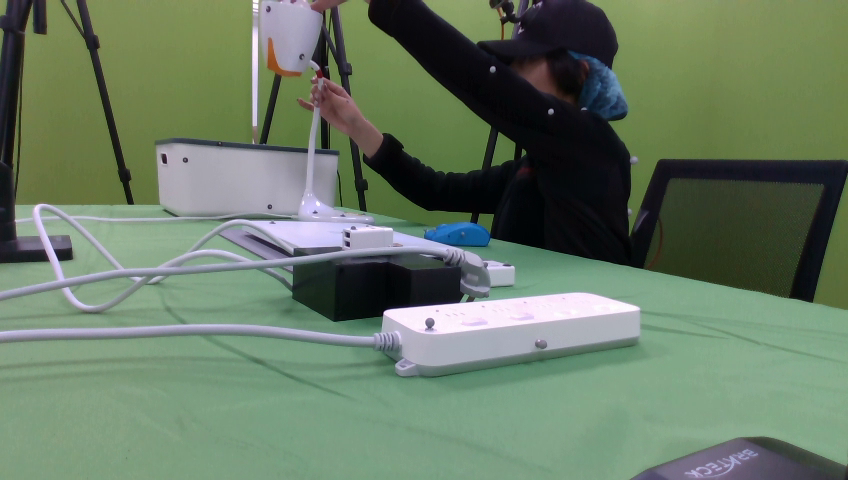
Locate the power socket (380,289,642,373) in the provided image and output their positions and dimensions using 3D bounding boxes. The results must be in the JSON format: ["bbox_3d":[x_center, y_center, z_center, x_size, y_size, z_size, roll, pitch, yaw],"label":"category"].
[{"bbox_3d":[0.072,0.064,0.461,0.228,0.032,0.072,-2,8,-30],"label":"power socket"}]

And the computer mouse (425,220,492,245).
[{"bbox_3d":[0.060,-0.013,1.060,0.117,0.041,0.062,-2,10,-6],"label":"computer mouse"}]

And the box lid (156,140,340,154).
[{"bbox_3d":[-0.409,-0.213,1.404,0.373,0.015,0.262,-2,8,-32],"label":"box lid"}]

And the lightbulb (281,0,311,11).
[{"bbox_3d":[-0.238,-0.383,1.092,0.059,0.107,0.059,16,14,-4],"label":"lightbulb"}]

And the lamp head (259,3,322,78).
[{"bbox_3d":[-0.246,-0.360,1.106,0.112,0.123,0.112,7,16,-2],"label":"lamp head"}]

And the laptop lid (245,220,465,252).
[{"bbox_3d":[-0.124,-0.009,0.945,0.243,0.013,0.355,1,7,-29],"label":"laptop lid"}]

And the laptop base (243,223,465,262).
[{"bbox_3d":[-0.126,0.003,0.946,0.237,0.023,0.352,2,6,-31],"label":"laptop base"}]

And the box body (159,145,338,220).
[{"bbox_3d":[-0.410,-0.139,1.414,0.366,0.160,0.253,-2,8,-33],"label":"box body"}]

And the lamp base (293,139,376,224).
[{"bbox_3d":[-0.191,-0.121,1.257,0.179,0.180,0.161,0,6,7],"label":"lamp base"}]

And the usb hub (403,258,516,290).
[{"bbox_3d":[0.042,0.038,0.690,0.126,0.025,0.049,-2,10,-30],"label":"usb hub"}]

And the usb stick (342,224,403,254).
[{"bbox_3d":[-0.047,-0.001,0.567,0.059,0.027,0.021,0,5,-32],"label":"usb stick"}]

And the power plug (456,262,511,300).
[{"bbox_3d":[0.051,0.050,0.543,0.035,0.052,0.072,7,38,-20],"label":"power plug"}]
